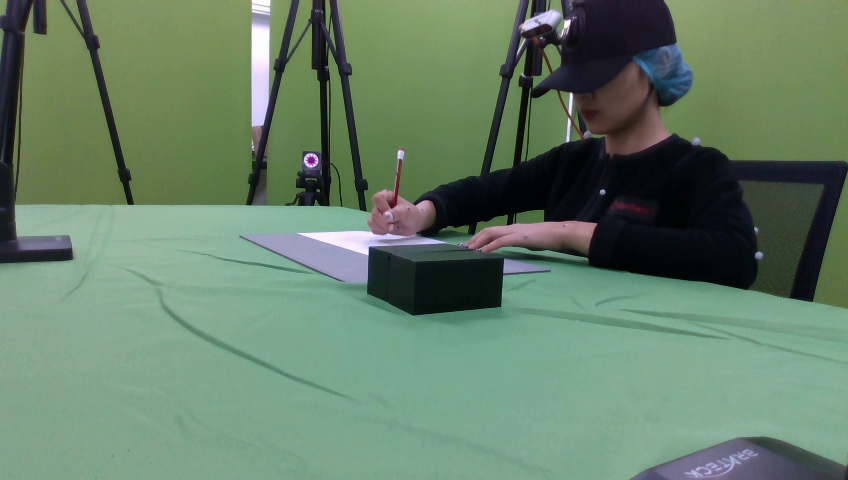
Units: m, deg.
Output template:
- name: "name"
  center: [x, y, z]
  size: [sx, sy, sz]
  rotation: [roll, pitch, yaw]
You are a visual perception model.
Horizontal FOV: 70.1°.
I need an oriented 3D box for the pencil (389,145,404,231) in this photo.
- name: "pencil"
  center: [-0.047, -0.091, 1.030]
  size: [0.012, 0.193, 0.012]
  rotation: [3, -37, 3]
